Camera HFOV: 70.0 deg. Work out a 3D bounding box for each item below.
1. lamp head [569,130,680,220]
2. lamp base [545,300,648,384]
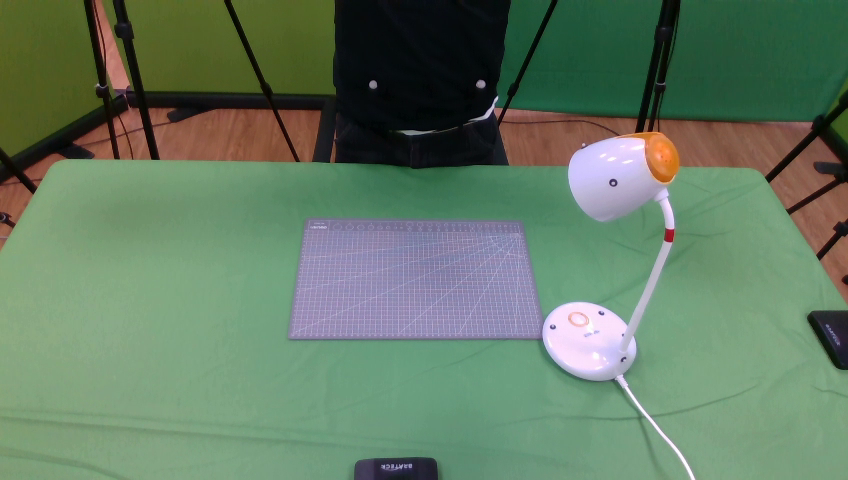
[{"bbox_3d":[0.272,-0.089,0.798,0.113,0.122,0.112,7,78,-33],"label":"lamp head"},{"bbox_3d":[0.299,0.124,0.983,0.161,0.181,0.178,-23,55,-23],"label":"lamp base"}]
